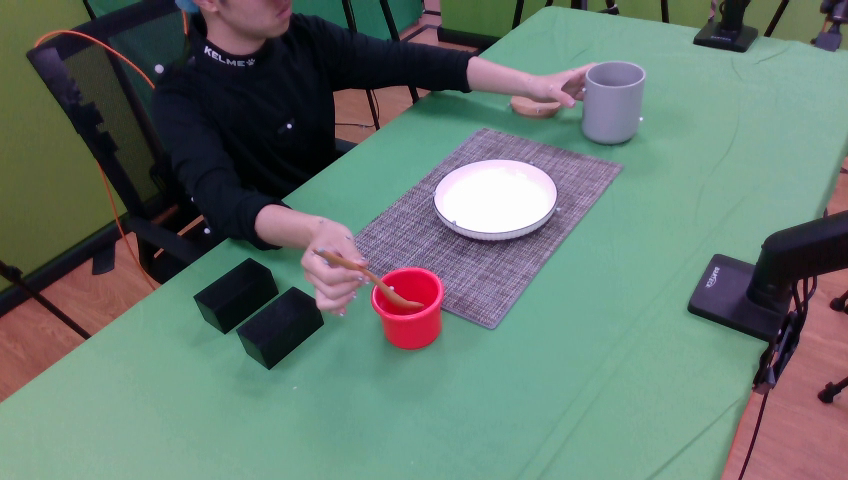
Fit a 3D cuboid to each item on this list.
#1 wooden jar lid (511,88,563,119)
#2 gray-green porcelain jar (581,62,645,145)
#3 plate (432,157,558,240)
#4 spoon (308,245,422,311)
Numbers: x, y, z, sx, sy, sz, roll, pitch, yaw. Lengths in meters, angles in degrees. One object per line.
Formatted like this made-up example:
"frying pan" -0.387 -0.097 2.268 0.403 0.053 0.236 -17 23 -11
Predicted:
"wooden jar lid" 0.237 -0.286 1.271 0.108 0.021 0.108 -5 42 5
"gray-green porcelain jar" 0.350 -0.251 1.131 0.106 0.127 0.105 -4 41 4
"plate" 0.118 -0.066 1.013 0.207 0.039 0.206 -4 41 4
"spoon" -0.070 0.048 0.748 0.041 0.195 0.021 13 70 47
